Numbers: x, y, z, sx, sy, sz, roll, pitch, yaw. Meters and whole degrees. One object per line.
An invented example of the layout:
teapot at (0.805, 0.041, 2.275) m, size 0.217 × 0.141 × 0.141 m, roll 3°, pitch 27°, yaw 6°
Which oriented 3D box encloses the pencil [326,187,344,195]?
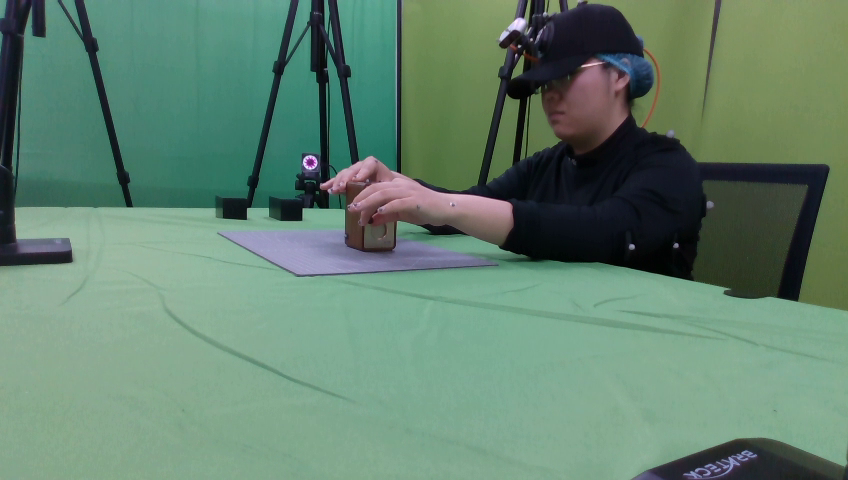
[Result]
pencil at (-0.125, -0.077, 1.022) m, size 0.012 × 0.012 × 0.193 m, roll -2°, pitch 9°, yaw -32°

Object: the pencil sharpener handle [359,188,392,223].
pencil sharpener handle at (-0.067, -0.049, 0.906) m, size 0.068 × 0.036 × 0.030 m, roll -45°, pitch 28°, yaw -19°

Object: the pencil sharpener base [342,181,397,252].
pencil sharpener base at (-0.085, -0.038, 0.957) m, size 0.062 × 0.107 × 0.076 m, roll -2°, pitch 9°, yaw -33°
